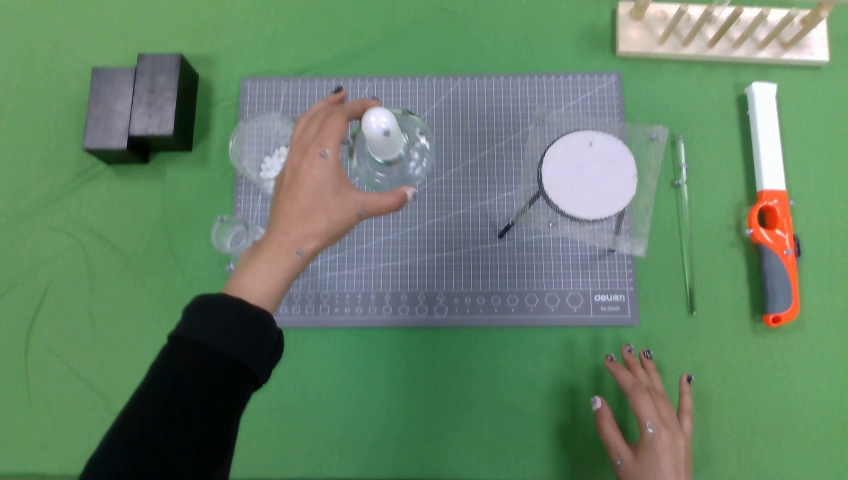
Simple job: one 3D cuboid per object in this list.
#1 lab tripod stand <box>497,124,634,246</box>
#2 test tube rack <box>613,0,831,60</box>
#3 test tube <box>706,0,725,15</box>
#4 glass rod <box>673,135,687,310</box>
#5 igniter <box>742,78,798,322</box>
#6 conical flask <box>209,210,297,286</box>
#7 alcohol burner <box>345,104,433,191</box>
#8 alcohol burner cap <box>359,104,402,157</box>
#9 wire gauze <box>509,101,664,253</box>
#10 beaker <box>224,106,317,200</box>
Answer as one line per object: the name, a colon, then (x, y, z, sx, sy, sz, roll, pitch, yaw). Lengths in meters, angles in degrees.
lab tripod stand: (0.147, -0.048, 0.617, 0.148, 0.132, 0.148, 0, 80, 2)
test tube rack: (0.346, -0.258, 0.682, 0.242, 0.085, 0.066, 3, 78, 2)
test tube: (0.328, -0.284, 0.637, 0.017, 0.151, 0.017, -1, 78, 4)
glass rod: (0.286, -0.022, 0.675, 0.008, 0.008, 0.199, 1, 81, 1)
igniter: (0.379, -0.048, 0.668, 0.057, 0.025, 0.275, 3, 79, -8)
conical flask: (-0.179, 0.003, 0.620, 0.075, 0.122, 0.075, 0, 78, 1)
alcohol burner: (-0.033, -0.084, 0.518, 0.078, 0.119, 0.077, -1, 83, 7)
alcohol burner cap: (-0.035, -0.090, 0.482, 0.034, 0.048, 0.033, 0, 77, 2)
wire gauze: (0.148, -0.061, 0.551, 0.125, 0.011, 0.121, 14, 80, 5)
beaker: (-0.156, -0.086, 0.650, 0.084, 0.100, 0.074, 36, 82, 8)
